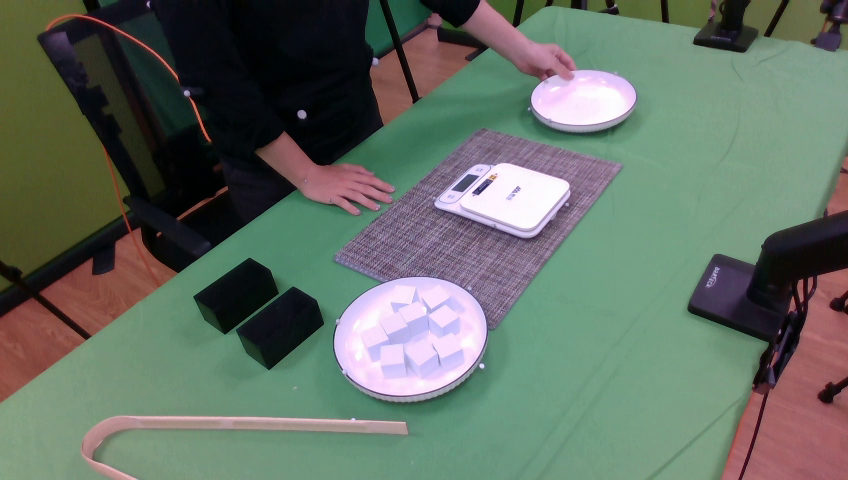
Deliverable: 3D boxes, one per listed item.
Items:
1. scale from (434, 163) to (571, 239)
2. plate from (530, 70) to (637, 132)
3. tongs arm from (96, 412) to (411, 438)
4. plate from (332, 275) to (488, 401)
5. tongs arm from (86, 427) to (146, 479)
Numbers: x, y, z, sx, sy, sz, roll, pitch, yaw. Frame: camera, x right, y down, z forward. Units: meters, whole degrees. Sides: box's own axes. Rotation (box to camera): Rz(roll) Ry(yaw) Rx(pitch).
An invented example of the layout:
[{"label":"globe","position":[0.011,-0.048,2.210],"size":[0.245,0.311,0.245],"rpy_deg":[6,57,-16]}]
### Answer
[{"label":"scale","position":[0.132,-0.075,1.025],"size":[0.199,0.032,0.149],"rpy_deg":[22,48,30]},{"label":"plate","position":[0.321,-0.276,1.226],"size":[0.209,0.038,0.208],"rpy_deg":[-5,43,5]},{"label":"tongs arm","position":[-0.208,0.226,0.731],"size":[0.387,0.028,0.028],"rpy_deg":[-1,44,8]},{"label":"plate","position":[-0.017,0.131,0.808],"size":[0.207,0.039,0.206],"rpy_deg":[-4,41,4]},{"label":"tongs arm","position":[-0.232,0.280,0.665],"size":[0.383,0.026,0.051],"rpy_deg":[9,42,20]}]
